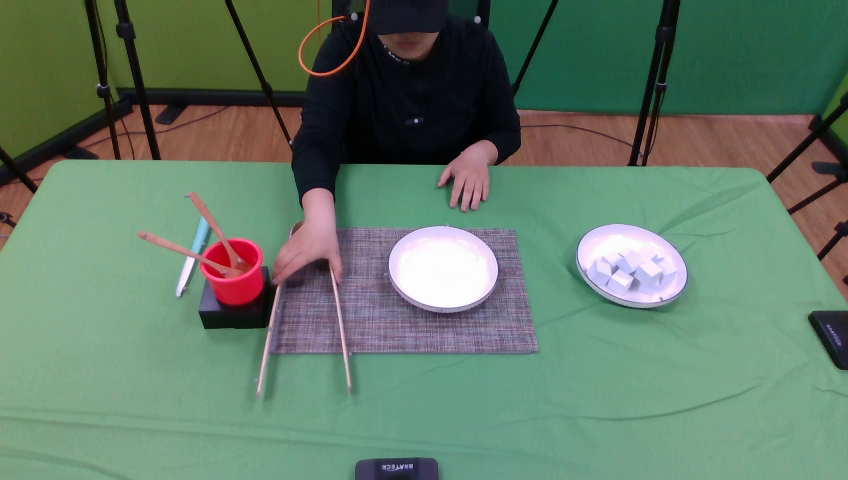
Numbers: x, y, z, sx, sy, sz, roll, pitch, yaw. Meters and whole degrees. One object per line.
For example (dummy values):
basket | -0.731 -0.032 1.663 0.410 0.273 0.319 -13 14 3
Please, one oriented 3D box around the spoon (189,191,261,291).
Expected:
spoon | -0.333 0.001 1.012 0.041 0.194 0.021 -34 15 -25

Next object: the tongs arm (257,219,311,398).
tongs arm | -0.241 0.102 1.068 0.051 0.026 0.382 0 46 -3

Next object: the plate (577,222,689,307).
plate | 0.396 0.050 1.165 0.209 0.038 0.208 2 47 -2

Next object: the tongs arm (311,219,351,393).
tongs arm | -0.165 0.100 1.078 0.028 0.028 0.385 -11 48 -9

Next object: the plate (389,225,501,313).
plate | 0.038 0.057 1.129 0.208 0.039 0.206 2 46 -2

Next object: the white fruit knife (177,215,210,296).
white fruit knife | -0.435 0.025 1.148 0.027 0.016 0.206 -18 45 19

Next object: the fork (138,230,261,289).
fork | -0.359 0.032 0.981 0.208 0.018 0.028 31 60 -30
